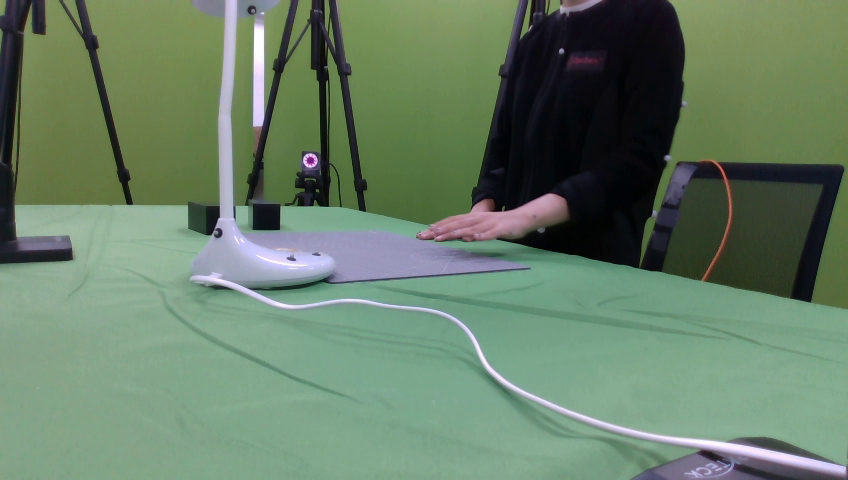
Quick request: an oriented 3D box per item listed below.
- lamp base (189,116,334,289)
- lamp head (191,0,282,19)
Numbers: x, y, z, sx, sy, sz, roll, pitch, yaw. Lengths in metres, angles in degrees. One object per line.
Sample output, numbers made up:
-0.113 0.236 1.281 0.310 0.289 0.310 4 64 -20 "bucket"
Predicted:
-0.185 -0.044 0.669 0.160 0.180 0.179 3 10 14 "lamp base"
-0.222 -0.330 0.689 0.112 0.112 0.123 3 -33 -4 "lamp head"
